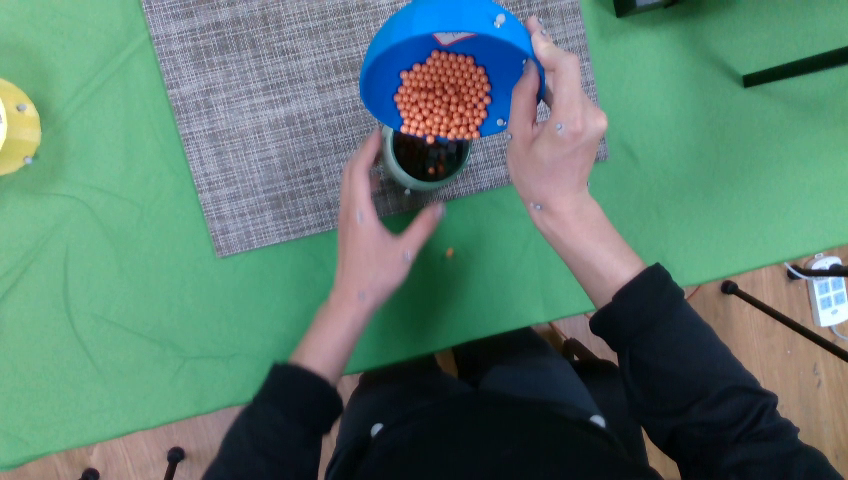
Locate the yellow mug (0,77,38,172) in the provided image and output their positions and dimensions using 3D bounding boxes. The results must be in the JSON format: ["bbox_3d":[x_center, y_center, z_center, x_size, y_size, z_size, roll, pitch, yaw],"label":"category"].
[{"bbox_3d":[-0.444,-0.100,0.582,0.100,0.063,0.131,18,95,-10],"label":"yellow mug"}]

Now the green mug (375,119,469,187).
[{"bbox_3d":[-0.001,-0.117,0.614,0.093,0.104,0.125,1,96,-7],"label":"green mug"}]

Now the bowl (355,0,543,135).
[{"bbox_3d":[0.020,-0.158,0.499,0.152,0.152,0.076,2,70,-7],"label":"bowl"}]
